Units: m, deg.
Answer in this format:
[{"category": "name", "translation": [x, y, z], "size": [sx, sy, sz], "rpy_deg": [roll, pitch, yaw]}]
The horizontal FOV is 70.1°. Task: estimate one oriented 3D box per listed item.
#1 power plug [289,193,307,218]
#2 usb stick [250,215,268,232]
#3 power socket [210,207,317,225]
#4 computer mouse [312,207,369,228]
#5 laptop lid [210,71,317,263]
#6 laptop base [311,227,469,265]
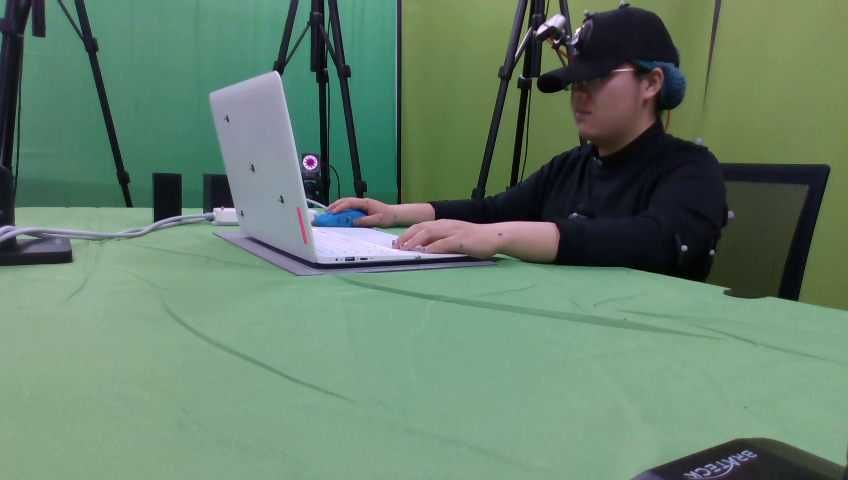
[{"category": "power plug", "translation": [-0.280, -0.076, 1.341], "size": [0.035, 0.052, 0.072], "rpy_deg": [3, 7, -17]}, {"category": "usb stick", "translation": [-0.290, -0.028, 1.069], "size": [0.021, 0.027, 0.059], "rpy_deg": [-1, 11, -30]}, {"category": "power socket", "translation": [-0.335, -0.051, 1.281], "size": [0.228, 0.032, 0.072], "rpy_deg": [-1, 8, -28]}, {"category": "computer mouse", "translation": [-0.177, -0.047, 1.290], "size": [0.118, 0.041, 0.062], "rpy_deg": [-6, 15, -27]}, {"category": "laptop lid", "translation": [-0.241, -0.104, 0.861], "size": [0.013, 0.241, 0.355], "rpy_deg": [-16, 17, -29]}, {"category": "laptop base", "translation": [-0.123, 0.007, 0.952], "size": [0.237, 0.023, 0.352], "rpy_deg": [2, 6, -32]}]
